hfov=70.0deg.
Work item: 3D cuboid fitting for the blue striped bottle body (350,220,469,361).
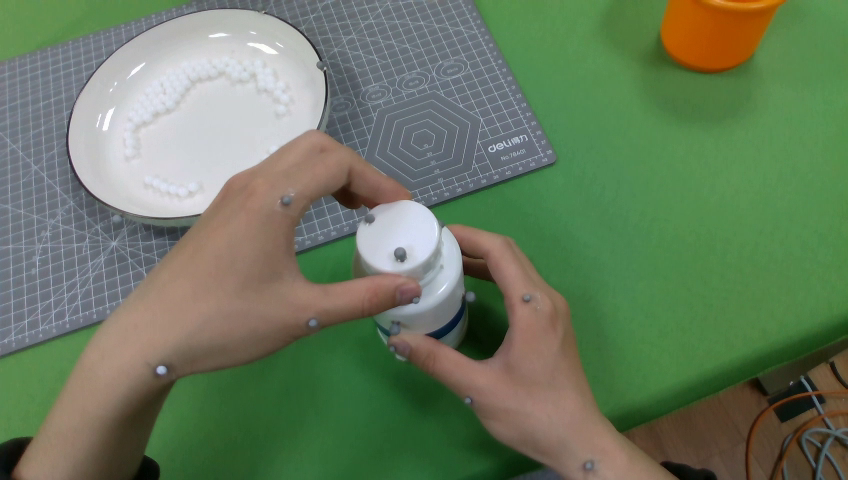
[{"bbox_3d":[-0.007,0.027,0.364,0.063,0.122,0.062,-3,62,6],"label":"blue striped bottle body"}]

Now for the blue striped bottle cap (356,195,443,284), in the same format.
[{"bbox_3d":[-0.013,-0.001,0.314,0.044,0.021,0.044,-2,65,4],"label":"blue striped bottle cap"}]

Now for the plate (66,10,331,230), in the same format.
[{"bbox_3d":[-0.174,-0.096,0.486,0.207,0.039,0.206,-2,63,5],"label":"plate"}]
